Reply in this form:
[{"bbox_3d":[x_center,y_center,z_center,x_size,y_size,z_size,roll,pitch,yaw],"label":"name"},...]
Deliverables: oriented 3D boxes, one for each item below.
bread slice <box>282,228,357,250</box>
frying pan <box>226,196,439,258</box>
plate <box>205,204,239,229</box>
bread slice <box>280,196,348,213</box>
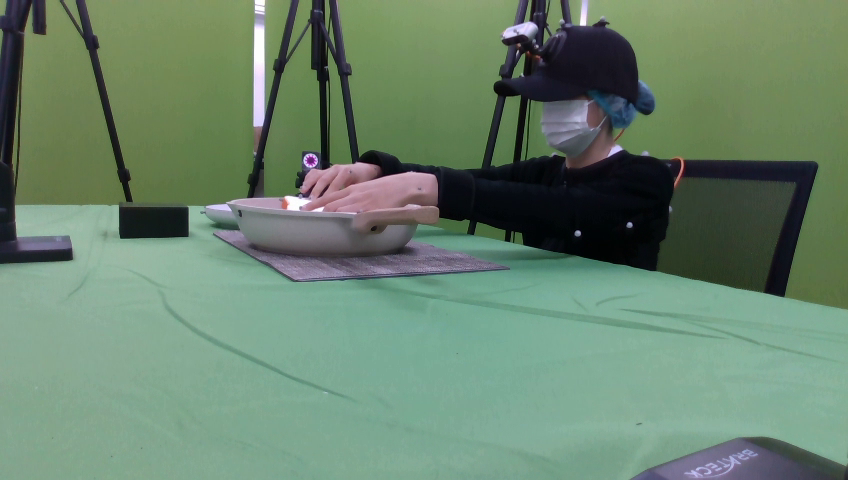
[{"bbox_3d":[-0.169,-0.003,0.943,0.107,0.018,0.134,2,8,-16],"label":"bread slice"},{"bbox_3d":[-0.103,-0.027,0.845,0.308,0.102,0.486,-1,0,-25],"label":"frying pan"},{"bbox_3d":[-0.324,-0.046,1.199,0.208,0.039,0.207,3,7,0],"label":"plate"},{"bbox_3d":[-0.171,-0.048,0.935,0.105,0.019,0.131,9,9,-21],"label":"bread slice"}]
